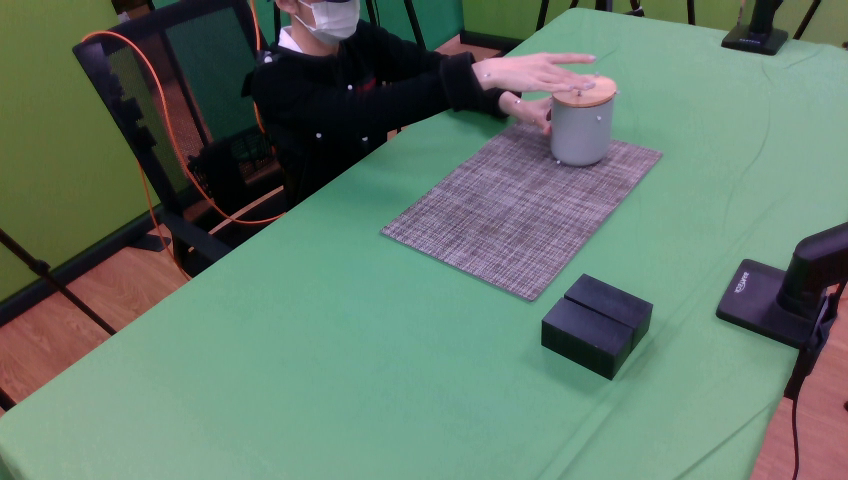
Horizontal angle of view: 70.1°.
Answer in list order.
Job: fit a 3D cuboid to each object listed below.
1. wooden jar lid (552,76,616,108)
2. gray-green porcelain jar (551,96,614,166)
[{"bbox_3d":[0.276,-0.252,1.046,0.108,0.021,0.108,-6,38,5],"label":"wooden jar lid"},{"bbox_3d":[0.282,-0.206,1.087,0.106,0.127,0.105,-4,40,4],"label":"gray-green porcelain jar"}]
